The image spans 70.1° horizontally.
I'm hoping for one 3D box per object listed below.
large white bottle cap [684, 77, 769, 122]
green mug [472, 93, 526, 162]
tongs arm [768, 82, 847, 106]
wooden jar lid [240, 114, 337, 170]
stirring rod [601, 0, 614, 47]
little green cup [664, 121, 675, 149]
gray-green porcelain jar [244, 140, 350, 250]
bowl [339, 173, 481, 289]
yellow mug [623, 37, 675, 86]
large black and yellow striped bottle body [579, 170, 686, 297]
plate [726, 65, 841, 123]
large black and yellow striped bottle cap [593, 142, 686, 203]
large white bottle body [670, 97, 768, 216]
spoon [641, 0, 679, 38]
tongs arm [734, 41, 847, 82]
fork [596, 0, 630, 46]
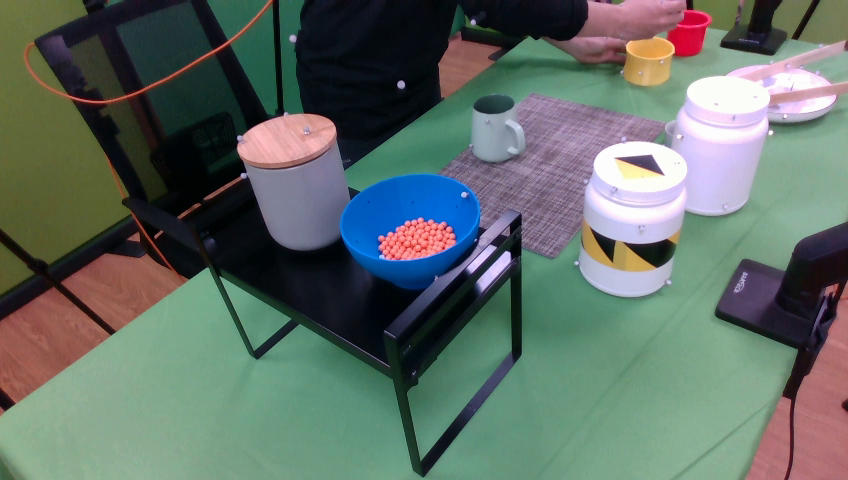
[{"bbox_3d":[0.448,-0.209,0.898,0.115,0.018,0.114,-4,40,4],"label":"large white bottle cap"},{"bbox_3d":[0.144,-0.202,1.122,0.093,0.105,0.124,-29,45,-23],"label":"green mug"},{"bbox_3d":[0.738,-0.282,1.134,0.388,0.028,0.028,-9,46,-5],"label":"tongs arm"},{"bbox_3d":[-0.149,-0.106,0.673,0.108,0.021,0.108,-6,38,5],"label":"wooden jar lid"},{"bbox_3d":[0.439,-0.552,1.463,0.014,0.006,0.175,-7,83,2],"label":"stirring rod"},{"bbox_3d":[0.472,-0.188,1.113,0.061,0.039,0.061,-5,39,4],"label":"little green cup"},{"bbox_3d":[-0.144,-0.060,0.714,0.106,0.127,0.105,-4,41,4],"label":"gray-green porcelain jar"},{"bbox_3d":[-0.011,0.001,0.660,0.151,0.077,0.150,-5,41,5],"label":"bowl"},{"bbox_3d":[0.484,-0.400,1.330,0.100,0.064,0.130,-18,44,-10],"label":"yellow mug"},{"bbox_3d":[0.287,-0.027,0.841,0.131,0.185,0.130,-4,40,4],"label":"large black and yellow striped bottle body"},{"bbox_3d":[0.695,-0.282,1.189,0.207,0.039,0.206,-4,40,4],"label":"plate"},{"bbox_3d":[0.280,-0.090,0.786,0.115,0.019,0.114,-5,41,5],"label":"large black and yellow striped bottle cap"},{"bbox_3d":[0.458,-0.146,0.952,0.130,0.185,0.130,-4,40,4],"label":"large white bottle body"},{"bbox_3d":[0.469,-0.441,1.160,0.021,0.194,0.041,38,80,3],"label":"spoon"},{"bbox_3d":[0.712,-0.332,1.194,0.386,0.026,0.050,-18,45,-16],"label":"tongs arm"},{"bbox_3d":[0.481,-0.556,1.452,0.028,0.019,0.207,40,103,37],"label":"fork"}]
